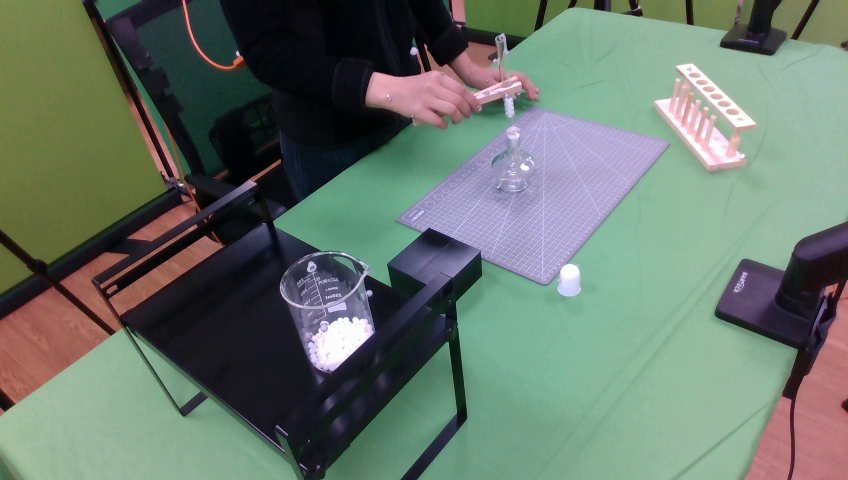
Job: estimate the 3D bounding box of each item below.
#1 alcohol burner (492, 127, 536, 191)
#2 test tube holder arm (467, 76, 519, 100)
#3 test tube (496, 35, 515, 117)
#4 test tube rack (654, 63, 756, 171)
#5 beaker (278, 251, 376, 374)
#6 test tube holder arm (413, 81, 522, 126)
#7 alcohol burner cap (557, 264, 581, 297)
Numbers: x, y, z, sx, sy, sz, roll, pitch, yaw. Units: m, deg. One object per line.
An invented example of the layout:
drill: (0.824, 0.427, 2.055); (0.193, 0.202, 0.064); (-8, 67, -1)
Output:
alcohol burner: (0.156, -0.146, 1.046); (0.078, 0.119, 0.077); (-4, 43, 4)
test tube holder arm: (0.108, -0.234, 0.948); (0.088, 0.015, 0.010); (-25, 49, -8)
test tube: (0.127, -0.249, 0.935); (0.017, 0.151, 0.017); (-7, 52, 10)
test tube rack: (0.510, -0.233, 1.120); (0.067, 0.085, 0.241); (-8, 41, -1)
beaker: (-0.084, 0.070, 0.570); (0.084, 0.101, 0.073); (-18, 42, -13)
test tube holder arm: (0.068, -0.213, 0.940); (0.178, 0.015, 0.013); (-20, 48, -3)
alcohol burner cap: (0.208, 0.055, 0.866); (0.034, 0.048, 0.033); (-4, 41, 4)
